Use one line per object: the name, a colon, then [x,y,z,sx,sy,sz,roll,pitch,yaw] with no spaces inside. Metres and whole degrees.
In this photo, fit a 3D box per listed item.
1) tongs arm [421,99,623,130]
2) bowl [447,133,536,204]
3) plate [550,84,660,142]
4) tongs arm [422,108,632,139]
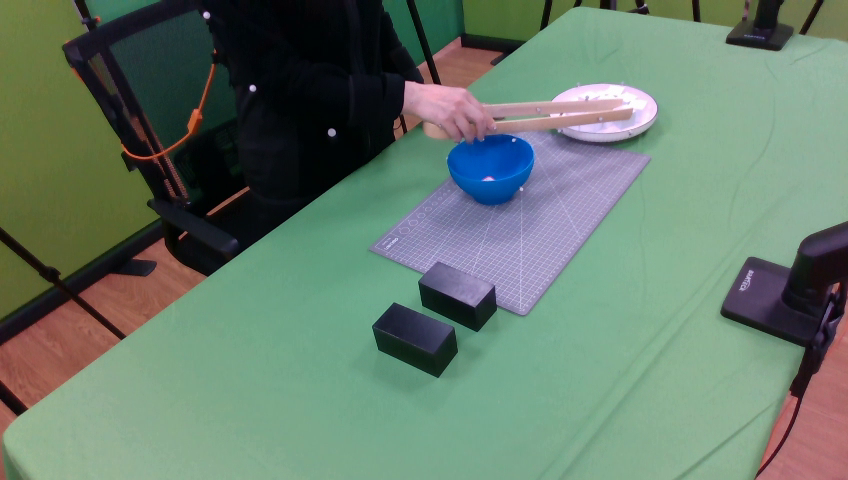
tongs arm: [0.182,-0.222,1.069,0.386,0.026,0.050,-4,46,-11]
bowl: [0.119,-0.115,1.051,0.151,0.077,0.150,-6,40,5]
plate: [0.355,-0.246,1.195,0.207,0.039,0.206,-5,39,4]
tongs arm: [0.188,-0.206,1.054,0.389,0.028,0.028,-7,50,-14]
